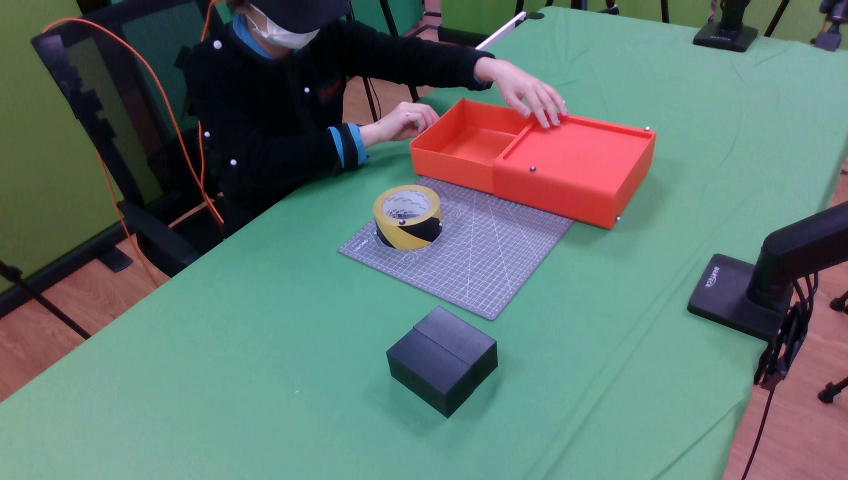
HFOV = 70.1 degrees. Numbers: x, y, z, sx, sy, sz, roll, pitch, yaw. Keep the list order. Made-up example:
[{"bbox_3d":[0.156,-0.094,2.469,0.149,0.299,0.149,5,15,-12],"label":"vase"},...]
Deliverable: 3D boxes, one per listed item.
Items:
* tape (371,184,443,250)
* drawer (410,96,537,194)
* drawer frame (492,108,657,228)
[{"bbox_3d":[-0.028,-0.039,0.990,0.117,0.053,0.116,-4,40,4],"label":"tape"},{"bbox_3d":[0.114,-0.176,1.115,0.210,0.073,0.195,19,46,28],"label":"drawer"},{"bbox_3d":[0.255,-0.130,1.032,0.212,0.083,0.202,19,47,27],"label":"drawer frame"}]
